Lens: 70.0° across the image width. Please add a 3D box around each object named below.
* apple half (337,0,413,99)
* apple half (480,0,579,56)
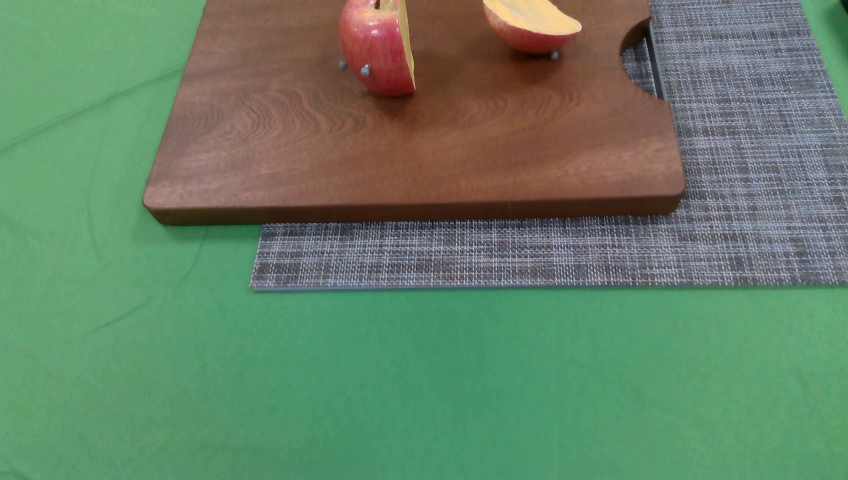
[{"bbox_3d":[-0.039,-0.150,0.470,0.053,0.075,0.080,-9,63,6],"label":"apple half"},{"bbox_3d":[0.078,-0.167,0.485,0.081,0.033,0.080,9,43,-8],"label":"apple half"}]
